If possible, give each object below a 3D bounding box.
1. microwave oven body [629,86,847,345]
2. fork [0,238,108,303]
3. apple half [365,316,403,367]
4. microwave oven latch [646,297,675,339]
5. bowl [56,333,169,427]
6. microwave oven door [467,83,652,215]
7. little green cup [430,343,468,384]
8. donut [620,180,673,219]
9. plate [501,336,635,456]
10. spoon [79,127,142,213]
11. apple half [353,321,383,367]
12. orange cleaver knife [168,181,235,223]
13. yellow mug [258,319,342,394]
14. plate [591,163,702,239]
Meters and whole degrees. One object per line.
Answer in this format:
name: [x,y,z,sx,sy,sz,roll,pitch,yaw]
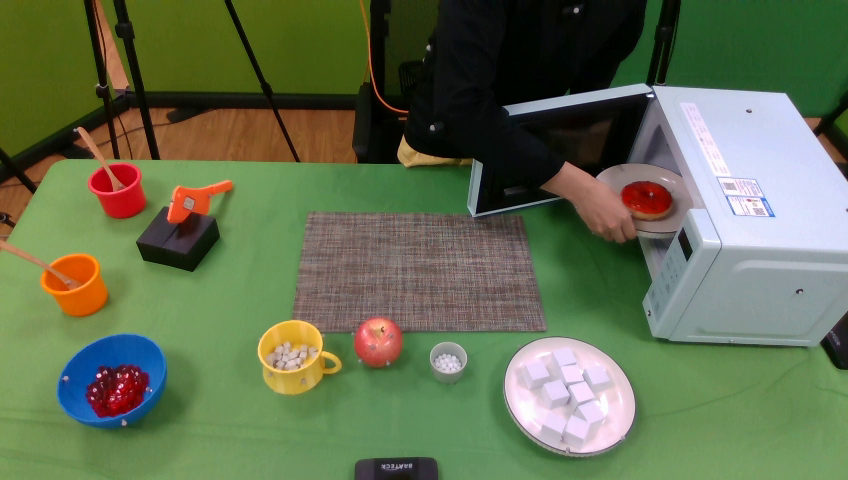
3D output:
microwave oven body: [0.567,-0.053,1.118,0.326,0.261,0.439,2,45,-1]
fork: [-0.633,0.048,1.017,0.208,0.018,0.028,40,43,-27]
apple half: [-0.063,0.165,1.000,0.053,0.075,0.080,-16,45,-24]
microwave oven latch: [0.412,0.134,1.061,0.030,0.029,0.078,4,45,1]
bowl: [-0.456,0.223,0.912,0.151,0.077,0.150,3,46,-2]
microwave oven door: [0.267,-0.181,1.214,0.356,0.245,0.039,-12,49,-15]
little green cup: [0.039,0.203,0.993,0.061,0.039,0.061,3,47,-2]
donut: [0.425,-0.079,1.157,0.099,0.048,0.098,1,42,0]
plate: [0.225,0.248,0.963,0.208,0.039,0.206,2,46,-2]
spoon: [-0.625,-0.139,1.203,0.041,0.021,0.194,-33,101,-26]
apple half: [-0.097,0.177,0.984,0.033,0.081,0.081,-17,49,-24]
orange cleaver knife: [-0.436,-0.078,1.196,0.012,0.077,0.211,16,15,10]
yellow mug: [-0.195,0.188,0.972,0.131,0.064,0.099,9,47,4]
plate: [0.425,-0.072,1.169,0.209,0.038,0.208,2,45,-1]
